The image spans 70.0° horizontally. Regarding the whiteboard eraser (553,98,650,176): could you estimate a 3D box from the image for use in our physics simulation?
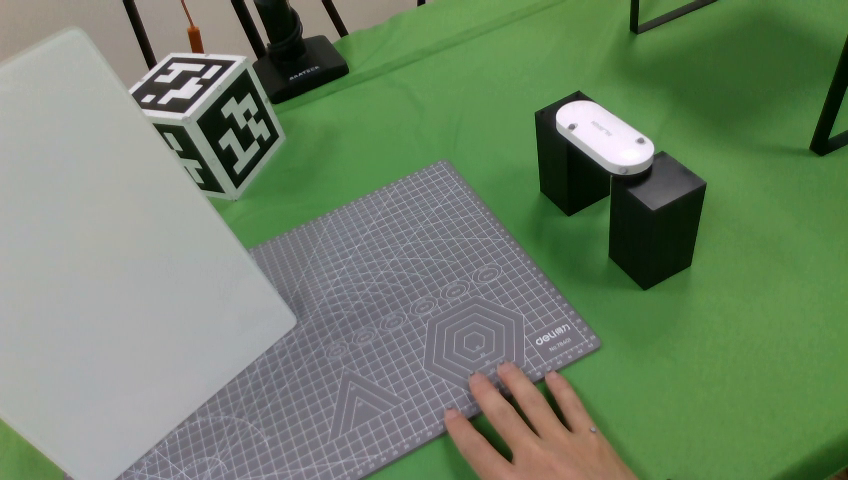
[{"bbox_3d":[0.148,-0.090,0.510,0.041,0.019,0.100,-27,48,-12],"label":"whiteboard eraser"}]

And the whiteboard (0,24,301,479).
[{"bbox_3d":[-0.294,0.017,0.513,0.217,0.308,0.142,-42,32,-21],"label":"whiteboard"}]
